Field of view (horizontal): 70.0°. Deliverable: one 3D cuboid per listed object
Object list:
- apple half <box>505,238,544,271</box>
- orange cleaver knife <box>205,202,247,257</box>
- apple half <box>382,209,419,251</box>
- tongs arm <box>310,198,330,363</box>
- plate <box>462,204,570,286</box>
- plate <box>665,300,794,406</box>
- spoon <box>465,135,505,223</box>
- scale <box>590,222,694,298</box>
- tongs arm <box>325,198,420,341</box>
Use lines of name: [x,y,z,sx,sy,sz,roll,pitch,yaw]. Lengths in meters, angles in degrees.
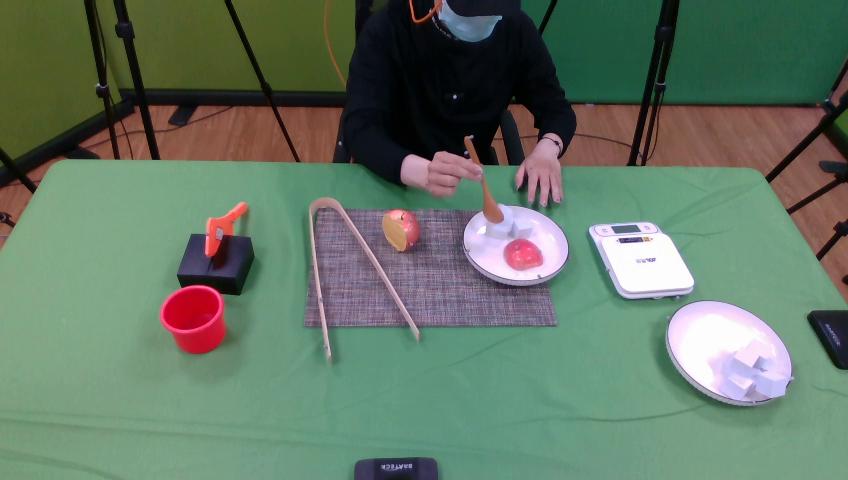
apple half: [0.193,0.020,1.167,0.081,0.033,0.081,3,49,-3]
orange cleaver knife: [-0.374,-0.023,1.151,0.012,0.077,0.210,4,16,1]
apple half: [-0.039,-0.022,1.175,0.053,0.075,0.080,-27,50,-31]
tongs arm: [-0.180,0.058,1.117,0.051,0.026,0.382,-9,46,-11]
plate: [0.177,0.013,1.180,0.209,0.038,0.208,2,46,-2]
plate: [0.513,0.194,1.033,0.208,0.039,0.206,2,46,-2]
spoon: [0.110,-0.109,1.128,0.041,0.194,0.021,-3,31,34]
scale: [0.424,0.031,1.189,0.149,0.032,0.199,-3,46,-7]
tongs arm: [-0.101,0.043,1.140,0.028,0.028,0.385,-22,51,-18]
